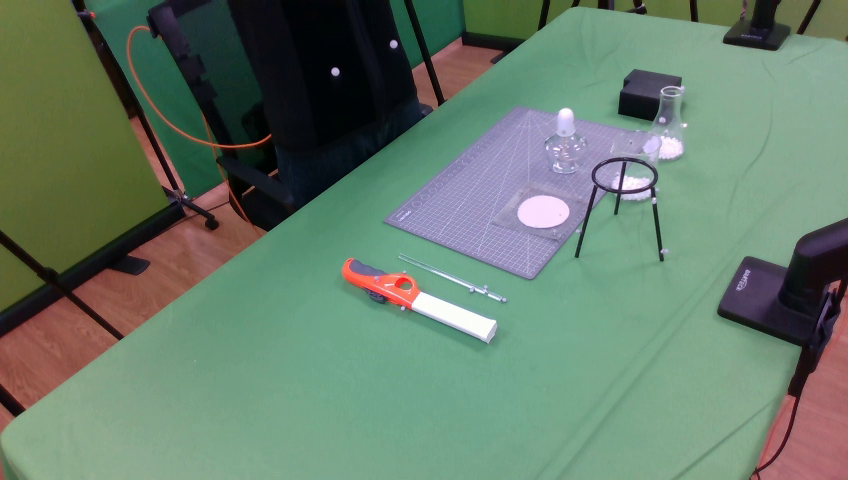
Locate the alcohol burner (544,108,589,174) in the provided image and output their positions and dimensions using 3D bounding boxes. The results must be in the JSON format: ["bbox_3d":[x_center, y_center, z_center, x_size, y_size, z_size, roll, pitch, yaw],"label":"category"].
[{"bbox_3d":[0.252,-0.178,1.071,0.078,0.120,0.077,-7,40,6],"label":"alcohol burner"}]

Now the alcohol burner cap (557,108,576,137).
[{"bbox_3d":[0.246,-0.205,1.047,0.034,0.048,0.033,-8,44,8],"label":"alcohol burner cap"}]

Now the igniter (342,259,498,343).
[{"bbox_3d":[-0.017,0.084,0.883,0.274,0.025,0.057,20,58,31],"label":"igniter"}]

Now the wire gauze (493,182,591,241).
[{"bbox_3d":[0.198,-0.048,1.011,0.120,0.011,0.125,20,50,31],"label":"wire gauze"}]

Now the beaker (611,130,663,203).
[{"bbox_3d":[0.346,-0.118,0.998,0.084,0.101,0.073,-17,40,-7],"label":"beaker"}]

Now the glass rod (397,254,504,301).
[{"bbox_3d":[0.036,0.054,0.923,0.198,0.008,0.008,22,50,31],"label":"glass rod"}]

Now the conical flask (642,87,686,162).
[{"bbox_3d":[0.429,-0.206,1.067,0.075,0.122,0.075,-6,40,6],"label":"conical flask"}]

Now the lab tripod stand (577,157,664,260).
[{"bbox_3d":[0.292,-0.047,0.897,0.148,0.132,0.147,-7,38,6],"label":"lab tripod stand"}]
